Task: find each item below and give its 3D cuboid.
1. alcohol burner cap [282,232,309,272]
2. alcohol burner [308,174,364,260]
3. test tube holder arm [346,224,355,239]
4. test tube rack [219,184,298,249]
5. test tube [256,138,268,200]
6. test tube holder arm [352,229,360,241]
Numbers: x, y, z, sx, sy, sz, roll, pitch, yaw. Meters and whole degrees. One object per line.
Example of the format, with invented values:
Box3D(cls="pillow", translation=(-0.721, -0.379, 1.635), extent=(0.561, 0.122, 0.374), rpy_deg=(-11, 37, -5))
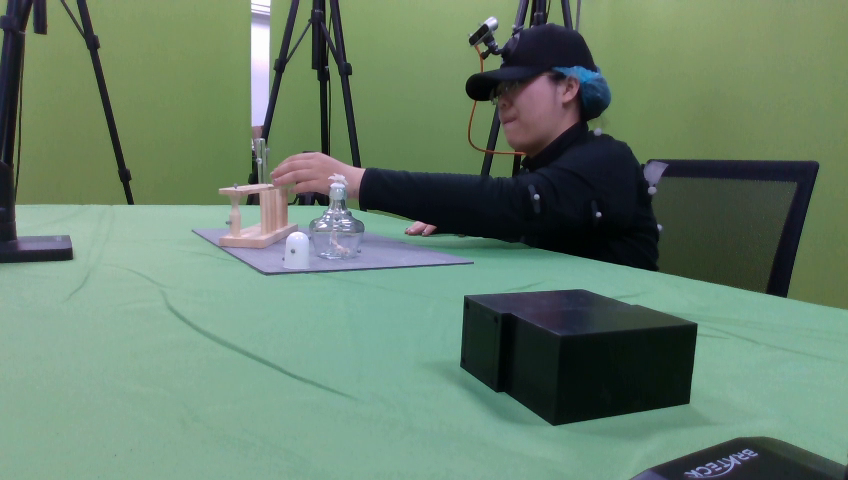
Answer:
Box3D(cls="alcohol burner cap", translation=(-0.157, 0.014, 0.740), extent=(0.034, 0.048, 0.034), rpy_deg=(2, 6, 0))
Box3D(cls="alcohol burner", translation=(-0.121, -0.033, 0.841), extent=(0.078, 0.119, 0.078), rpy_deg=(3, 5, 0))
Box3D(cls="test tube holder arm", translation=(-0.131, -0.017, 1.083), extent=(0.013, 0.015, 0.178), rpy_deg=(33, 0, -11))
Box3D(cls="test tube rack", translation=(-0.266, -0.046, 1.002), extent=(0.067, 0.085, 0.242), rpy_deg=(2, 7, 0))
Box3D(cls="test tube", translation=(-0.284, -0.104, 1.066), extent=(0.017, 0.150, 0.017), rpy_deg=(-1, 9, 0))
Box3D(cls="test tube holder arm", translation=(-0.119, -0.010, 1.040), extent=(0.010, 0.015, 0.087), rpy_deg=(33, 0, -11))
